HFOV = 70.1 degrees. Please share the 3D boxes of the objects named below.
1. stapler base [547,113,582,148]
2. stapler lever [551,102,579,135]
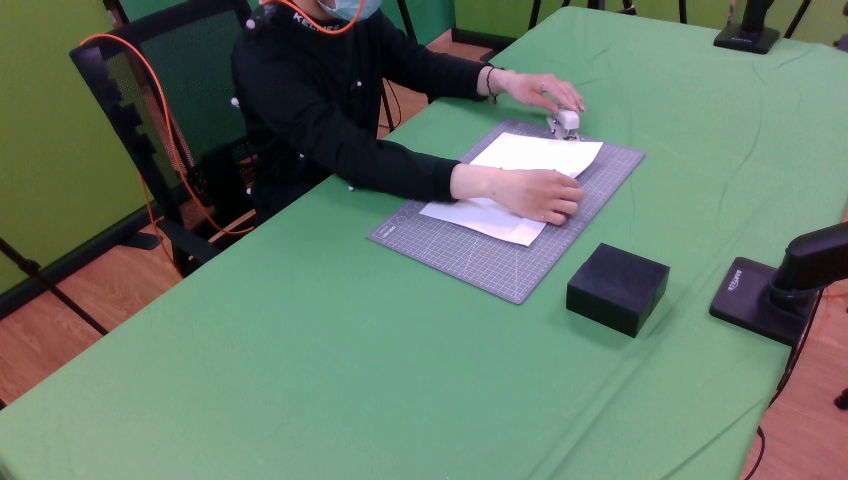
[{"bbox_3d":[0.276,-0.224,1.185,0.041,0.024,0.130,-6,38,-1],"label":"stapler base"},{"bbox_3d":[0.273,-0.244,1.171,0.027,0.040,0.117,-6,38,-1],"label":"stapler lever"}]
